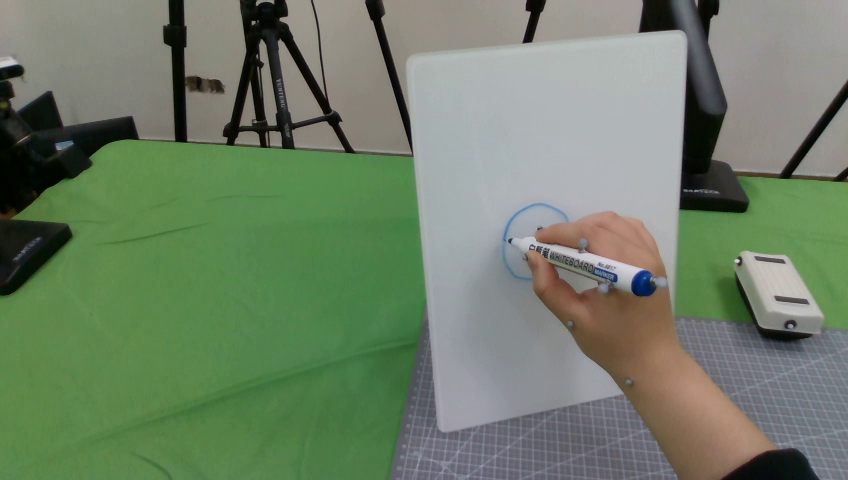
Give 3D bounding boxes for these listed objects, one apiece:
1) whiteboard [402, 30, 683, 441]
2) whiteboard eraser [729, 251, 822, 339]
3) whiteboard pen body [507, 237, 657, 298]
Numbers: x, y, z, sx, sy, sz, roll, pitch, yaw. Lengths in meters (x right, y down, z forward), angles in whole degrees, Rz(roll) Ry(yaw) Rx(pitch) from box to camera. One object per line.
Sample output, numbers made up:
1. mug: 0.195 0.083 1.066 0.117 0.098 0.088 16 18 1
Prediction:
1. whiteboard: 0.089 -0.014 0.538 0.218 0.307 0.143 -8 18 -11
2. whiteboard eraser: 0.354 0.056 0.618 0.055 0.042 0.112 4 32 9
3. whiteboard pen body: 0.094 0.013 0.393 0.017 0.017 0.139 -17 17 -22
